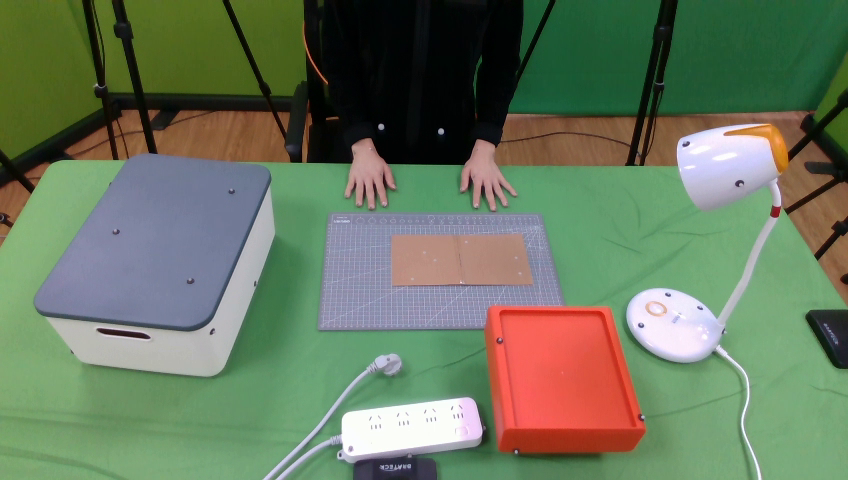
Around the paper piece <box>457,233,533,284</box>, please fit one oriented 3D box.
[{"bbox_3d":[0.136,0.035,1.182,0.136,0.009,0.137,2,45,-7],"label":"paper piece"}]

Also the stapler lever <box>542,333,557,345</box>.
[{"bbox_3d":[0.225,0.181,0.928,0.118,0.040,0.027,27,34,15],"label":"stapler lever"}]

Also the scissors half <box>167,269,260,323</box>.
[{"bbox_3d":[-0.369,0.101,1.069,0.175,0.013,0.040,-28,52,-22],"label":"scissors half"}]

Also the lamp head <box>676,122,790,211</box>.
[{"bbox_3d":[0.423,-0.104,0.819,0.122,0.113,0.112,-13,33,40],"label":"lamp head"}]

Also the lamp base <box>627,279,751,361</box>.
[{"bbox_3d":[0.460,0.100,1.027,0.178,0.181,0.160,27,51,17],"label":"lamp base"}]

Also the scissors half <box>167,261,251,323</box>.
[{"bbox_3d":[-0.383,0.091,1.080,0.040,0.013,0.175,25,52,30],"label":"scissors half"}]

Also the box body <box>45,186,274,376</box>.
[{"bbox_3d":[-0.421,0.037,1.031,0.254,0.161,0.362,6,46,1],"label":"box body"}]

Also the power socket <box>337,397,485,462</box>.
[{"bbox_3d":[-0.018,0.285,0.915,0.227,0.033,0.071,-4,46,-8],"label":"power socket"}]

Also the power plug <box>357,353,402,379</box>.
[{"bbox_3d":[-0.070,0.207,0.983,0.072,0.053,0.035,-20,51,4],"label":"power plug"}]

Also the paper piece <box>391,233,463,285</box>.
[{"bbox_3d":[0.003,0.035,1.170,0.135,0.004,0.135,0,46,-4],"label":"paper piece"}]

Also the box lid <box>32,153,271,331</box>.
[{"bbox_3d":[-0.417,-0.015,0.980,0.263,0.015,0.369,6,46,1],"label":"box lid"}]

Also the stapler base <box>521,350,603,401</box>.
[{"bbox_3d":[0.217,0.203,0.942,0.130,0.024,0.041,26,33,16],"label":"stapler base"}]

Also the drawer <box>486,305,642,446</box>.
[{"bbox_3d":[0.202,0.200,0.919,0.195,0.073,0.210,2,47,-4],"label":"drawer"}]

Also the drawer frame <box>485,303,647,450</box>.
[{"bbox_3d":[0.204,0.202,0.917,0.202,0.083,0.212,1,47,-4],"label":"drawer frame"}]
